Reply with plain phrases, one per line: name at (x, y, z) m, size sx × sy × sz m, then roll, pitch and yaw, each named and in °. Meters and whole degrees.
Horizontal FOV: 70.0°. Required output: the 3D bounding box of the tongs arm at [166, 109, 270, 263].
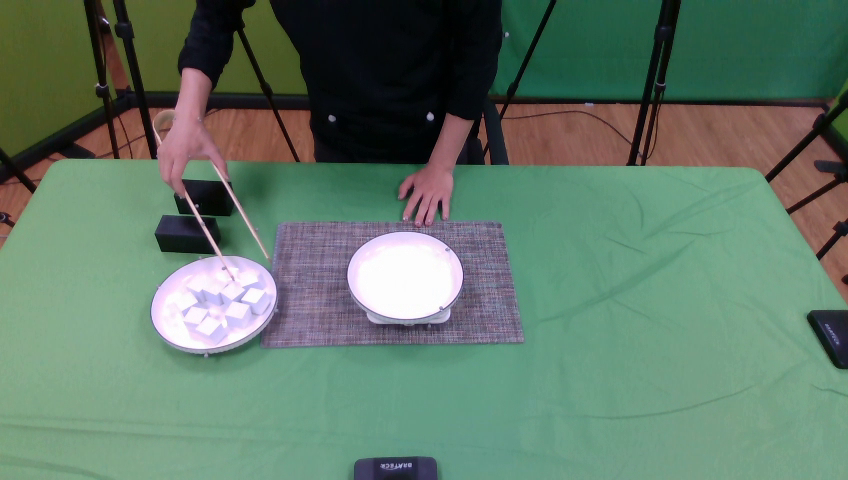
tongs arm at (-0.386, -0.110, 1.134) m, size 0.028 × 0.028 × 0.386 m, roll -33°, pitch 71°, yaw -10°

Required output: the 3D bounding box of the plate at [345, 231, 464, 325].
plate at (-0.034, 0.069, 1.069) m, size 0.209 × 0.038 × 0.208 m, roll 2°, pitch 46°, yaw -2°

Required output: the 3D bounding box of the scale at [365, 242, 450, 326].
scale at (-0.032, 0.071, 1.113) m, size 0.149 × 0.032 × 0.199 m, roll 0°, pitch 46°, yaw -4°

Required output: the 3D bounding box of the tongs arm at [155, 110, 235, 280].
tongs arm at (-0.420, -0.091, 1.125) m, size 0.051 × 0.026 × 0.383 m, roll -31°, pitch 70°, yaw -13°

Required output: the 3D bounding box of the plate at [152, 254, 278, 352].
plate at (-0.357, 0.111, 1.052) m, size 0.208 × 0.039 × 0.206 m, roll 2°, pitch 46°, yaw -2°
